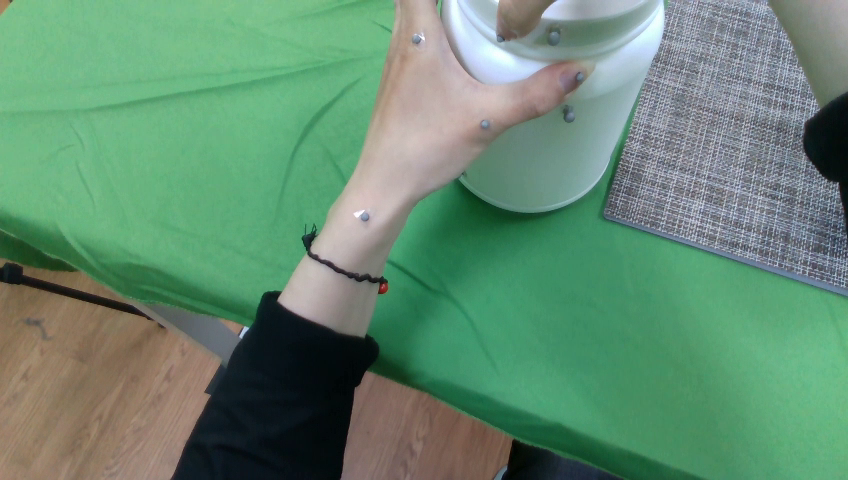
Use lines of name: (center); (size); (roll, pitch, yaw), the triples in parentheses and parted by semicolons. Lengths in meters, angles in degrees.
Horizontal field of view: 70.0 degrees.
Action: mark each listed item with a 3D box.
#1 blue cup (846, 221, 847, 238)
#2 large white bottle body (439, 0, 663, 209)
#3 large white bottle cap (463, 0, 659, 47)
blue cup: (0.329, -0.022, 0.388); (0.092, 0.101, 0.092); (-1, 64, 3)
large white bottle body: (0.075, -0.116, 0.398); (0.130, 0.186, 0.129); (-1, 66, 2)
large white bottle cap: (0.072, -0.151, 0.319); (0.115, 0.018, 0.114); (0, 66, 1)
